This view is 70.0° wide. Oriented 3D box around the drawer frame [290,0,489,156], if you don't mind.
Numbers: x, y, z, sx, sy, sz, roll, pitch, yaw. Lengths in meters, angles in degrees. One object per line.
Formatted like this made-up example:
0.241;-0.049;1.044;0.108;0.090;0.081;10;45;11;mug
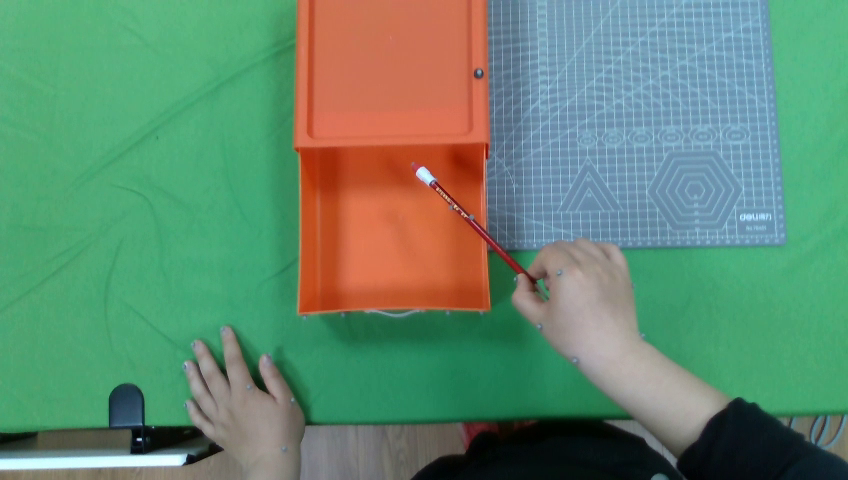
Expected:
-0.034;-0.193;0.649;0.201;0.083;0.213;-2;83;5;drawer frame

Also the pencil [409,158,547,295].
0.048;-0.016;0.575;0.012;0.012;0.192;-43;67;-1;pencil

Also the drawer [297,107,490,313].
-0.031;-0.029;0.634;0.194;0.073;0.211;-2;86;6;drawer
